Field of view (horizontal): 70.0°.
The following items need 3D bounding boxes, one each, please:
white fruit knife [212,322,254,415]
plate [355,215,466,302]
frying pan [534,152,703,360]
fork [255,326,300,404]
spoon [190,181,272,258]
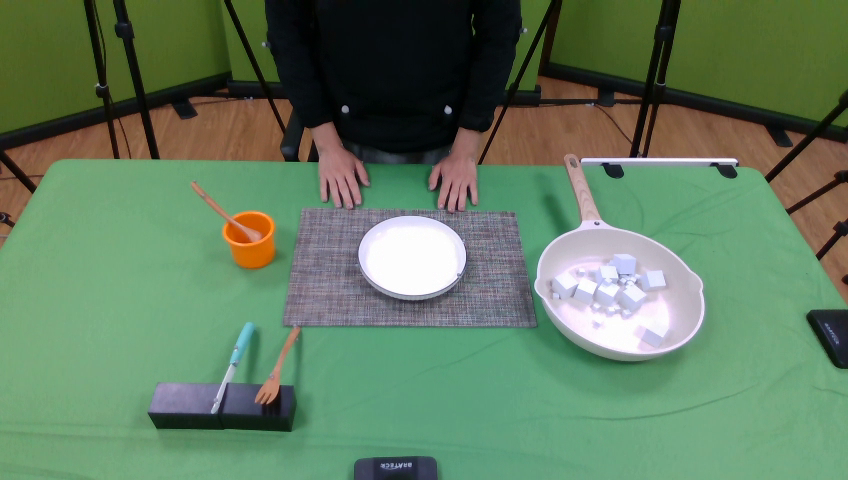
[{"bbox_3d":[-0.298,0.193,0.947,0.016,0.027,0.206,2,31,-1],"label":"white fruit knife"},{"bbox_3d":[-0.025,0.038,1.143,0.208,0.039,0.206,3,46,-2],"label":"plate"},{"bbox_3d":[0.335,0.013,1.154,0.307,0.103,0.484,-1,55,-7],"label":"frying pan"},{"bbox_3d":[-0.226,0.192,0.955,0.028,0.019,0.206,-1,27,4],"label":"fork"},{"bbox_3d":[-0.353,-0.037,1.111,0.194,0.021,0.041,42,38,-20],"label":"spoon"}]
